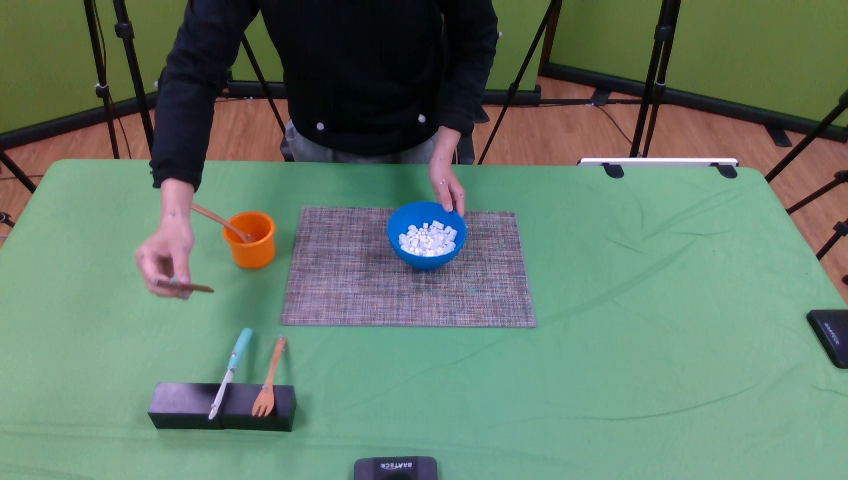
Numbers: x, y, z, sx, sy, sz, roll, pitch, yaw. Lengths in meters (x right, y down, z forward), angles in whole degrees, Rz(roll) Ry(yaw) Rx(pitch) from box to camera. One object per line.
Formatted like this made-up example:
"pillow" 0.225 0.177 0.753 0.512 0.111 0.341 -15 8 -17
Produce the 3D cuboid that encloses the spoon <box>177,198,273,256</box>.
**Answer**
"spoon" -0.361 -0.025 1.107 0.195 0.021 0.041 38 33 -32

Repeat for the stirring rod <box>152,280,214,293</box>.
"stirring rod" -0.338 0.067 0.862 0.014 0.176 0.006 32 86 7

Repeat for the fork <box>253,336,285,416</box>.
"fork" -0.235 0.206 0.938 0.028 0.019 0.206 -3 26 -2

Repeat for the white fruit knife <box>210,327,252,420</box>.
"white fruit knife" -0.298 0.200 0.938 0.016 0.027 0.206 -1 30 0

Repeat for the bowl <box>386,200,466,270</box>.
"bowl" 0.001 0.003 1.150 0.151 0.077 0.150 2 46 -2
